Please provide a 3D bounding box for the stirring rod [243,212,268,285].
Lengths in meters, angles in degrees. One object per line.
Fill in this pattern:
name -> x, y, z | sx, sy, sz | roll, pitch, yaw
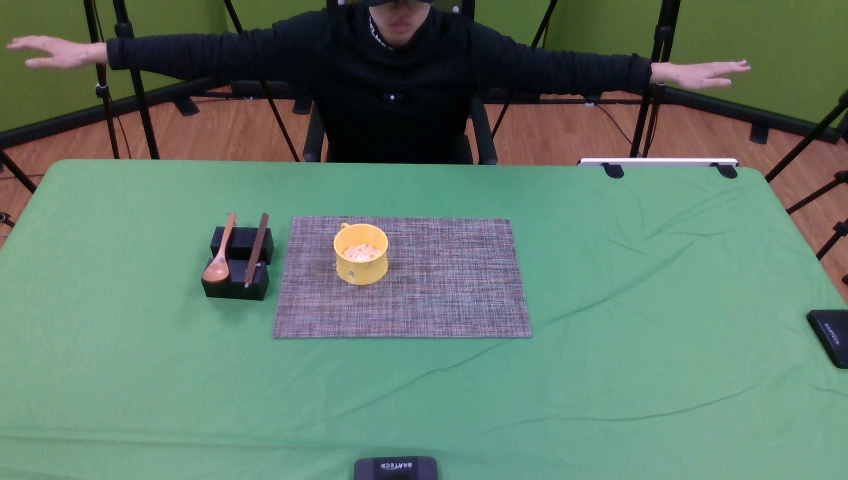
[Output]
stirring rod -> -0.305, 0.012, 1.101 | 0.014, 0.006, 0.175 | 31, 38, -28

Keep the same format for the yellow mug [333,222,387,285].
yellow mug -> -0.127, 0.016, 1.139 | 0.100, 0.064, 0.130 | -23, 51, -25

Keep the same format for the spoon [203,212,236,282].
spoon -> -0.361, 0.009, 1.097 | 0.041, 0.022, 0.192 | 0, 44, -3
